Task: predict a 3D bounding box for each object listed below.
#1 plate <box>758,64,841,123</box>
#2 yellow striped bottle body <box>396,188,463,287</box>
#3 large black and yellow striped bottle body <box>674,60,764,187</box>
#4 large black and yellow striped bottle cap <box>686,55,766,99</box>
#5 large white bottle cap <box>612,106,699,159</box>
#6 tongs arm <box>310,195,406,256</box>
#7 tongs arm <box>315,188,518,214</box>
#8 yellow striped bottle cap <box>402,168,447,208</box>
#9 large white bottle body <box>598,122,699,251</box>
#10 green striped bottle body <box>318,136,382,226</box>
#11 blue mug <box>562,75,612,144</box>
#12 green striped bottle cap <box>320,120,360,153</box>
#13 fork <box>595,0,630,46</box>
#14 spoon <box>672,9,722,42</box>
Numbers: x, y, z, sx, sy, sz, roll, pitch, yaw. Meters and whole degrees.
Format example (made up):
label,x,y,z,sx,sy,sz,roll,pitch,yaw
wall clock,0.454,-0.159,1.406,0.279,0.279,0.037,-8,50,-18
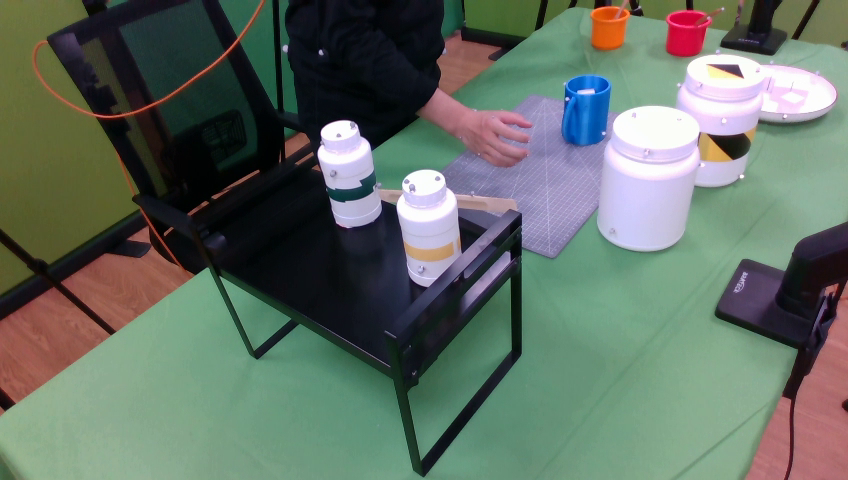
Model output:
label,x,y,z,sx,sy,sz,roll,pitch,yaw
plate,0.694,-0.283,1.189,0.207,0.039,0.206,-4,40,4
yellow striped bottle body,0.006,-0.013,0.638,0.063,0.121,0.062,-5,41,5
large black and yellow striped bottle body,0.482,-0.196,1.008,0.131,0.185,0.130,-4,41,4
large black and yellow striped bottle cap,0.474,-0.258,0.952,0.115,0.019,0.114,-5,41,5
large white bottle cap,0.325,-0.153,0.850,0.115,0.018,0.114,-4,41,4
tongs arm,-0.078,-0.012,0.944,0.028,0.028,0.384,-43,39,-23
tongs arm,-0.028,-0.060,0.988,0.382,0.027,0.051,9,45,36
yellow striped bottle cap,0.001,-0.052,0.605,0.044,0.019,0.044,-5,43,5
large white bottle body,0.334,-0.090,0.906,0.130,0.185,0.130,-5,41,5
green striped bottle body,-0.090,-0.080,0.733,0.063,0.120,0.063,-5,41,5
blue mug,0.298,-0.239,1.143,0.081,0.106,0.117,30,54,36
green striped bottle cap,-0.097,-0.120,0.699,0.044,0.020,0.044,-3,41,3
fork,0.480,-0.556,1.453,0.028,0.019,0.207,42,104,43
spoon,0.606,-0.476,1.345,0.042,0.021,0.193,-6,-3,-2
